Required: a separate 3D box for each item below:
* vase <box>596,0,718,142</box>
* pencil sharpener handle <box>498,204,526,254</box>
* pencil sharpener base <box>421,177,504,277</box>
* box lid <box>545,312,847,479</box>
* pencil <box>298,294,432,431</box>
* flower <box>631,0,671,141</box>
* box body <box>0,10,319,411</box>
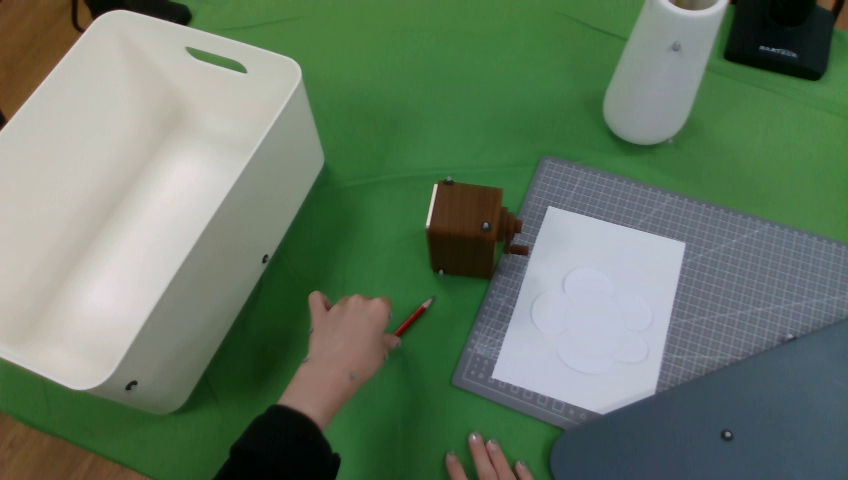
[{"bbox_3d":[0.250,-0.196,0.658,0.098,0.201,0.097,-2,63,4],"label":"vase"},{"bbox_3d":[0.091,-0.008,0.616,0.030,0.068,0.035,7,58,7],"label":"pencil sharpener handle"},{"bbox_3d":[0.042,-0.010,0.633,0.076,0.108,0.061,7,64,7],"label":"pencil sharpener base"},{"bbox_3d":[0.325,0.236,0.548,0.372,0.015,0.261,-20,66,-5],"label":"box lid"},{"bbox_3d":[-0.058,0.123,0.630,0.012,0.012,0.194,39,72,20],"label":"pencil"},{"bbox_3d":[0.243,-0.246,0.590,0.044,0.365,0.038,12,48,14],"label":"flower"},{"bbox_3d":[-0.299,-0.032,0.636,0.253,0.161,0.362,19,67,13],"label":"box body"}]
